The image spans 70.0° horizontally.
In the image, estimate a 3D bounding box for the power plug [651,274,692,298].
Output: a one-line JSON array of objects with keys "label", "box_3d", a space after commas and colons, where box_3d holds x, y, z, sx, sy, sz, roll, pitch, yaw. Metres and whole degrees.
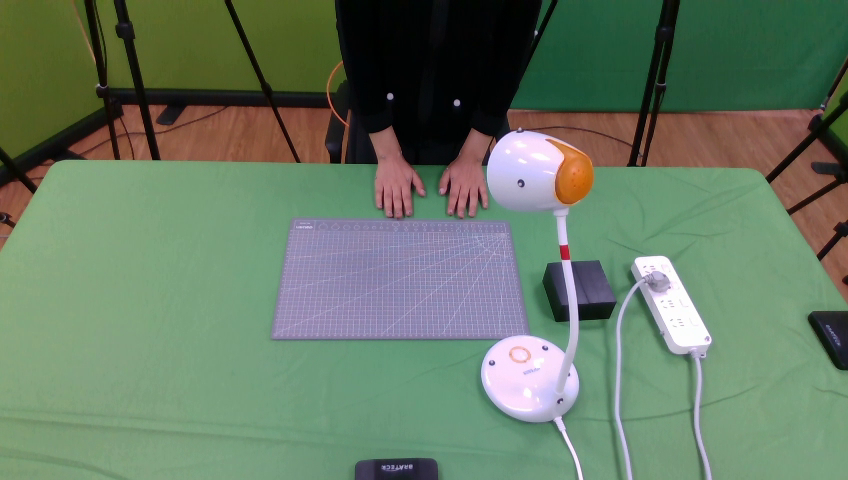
[{"label": "power plug", "box_3d": [0.445, 0.093, 1.102, 0.035, 0.053, 0.072, -25, 58, -7]}]

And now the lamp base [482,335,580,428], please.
[{"label": "lamp base", "box_3d": [0.185, 0.177, 0.928, 0.161, 0.181, 0.178, -22, 53, -23]}]

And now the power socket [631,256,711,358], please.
[{"label": "power socket", "box_3d": [0.449, 0.115, 1.112, 0.072, 0.033, 0.225, -4, 47, -6]}]

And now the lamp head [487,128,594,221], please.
[{"label": "lamp head", "box_3d": [0.160, -0.084, 0.792, 0.112, 0.113, 0.122, -24, 28, -25]}]
